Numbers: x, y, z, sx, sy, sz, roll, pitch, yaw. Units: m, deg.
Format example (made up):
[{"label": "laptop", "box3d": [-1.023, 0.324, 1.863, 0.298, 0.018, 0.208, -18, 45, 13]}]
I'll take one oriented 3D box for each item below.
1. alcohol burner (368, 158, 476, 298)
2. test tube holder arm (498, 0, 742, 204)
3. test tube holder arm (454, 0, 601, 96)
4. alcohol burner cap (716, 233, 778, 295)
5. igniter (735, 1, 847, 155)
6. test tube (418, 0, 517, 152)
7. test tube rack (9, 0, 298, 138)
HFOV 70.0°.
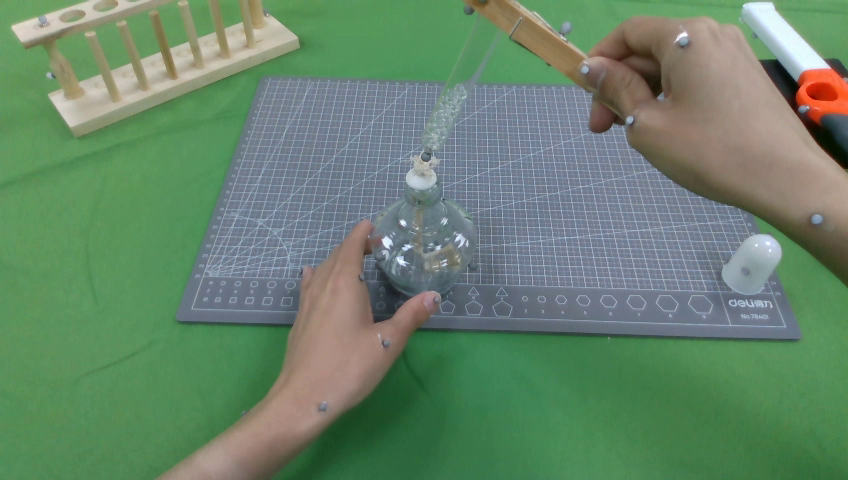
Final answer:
[{"label": "alcohol burner", "box3d": [-0.002, -0.013, 0.424, 0.078, 0.120, 0.077, 0, 51, 1]}, {"label": "test tube holder arm", "box3d": [0.091, -0.080, 0.318, 0.178, 0.015, 0.013, 40, 36, 6]}, {"label": "test tube holder arm", "box3d": [0.054, -0.106, 0.317, 0.088, 0.015, 0.010, 36, 35, 0]}, {"label": "alcohol burner cap", "box3d": [0.243, 0.015, 0.451, 0.034, 0.048, 0.033, 1, 49, -1]}, {"label": "igniter", "box3d": [0.346, -0.138, 0.534, 0.057, 0.025, 0.273, -4, 48, -1]}, {"label": "test tube", "box3d": [0.031, -0.112, 0.329, 0.017, 0.151, 0.017, 20, 32, -13]}, {"label": "test tube rack", "box3d": [-0.251, -0.198, 0.598, 0.242, 0.086, 0.066, -31, 57, -25]}]
